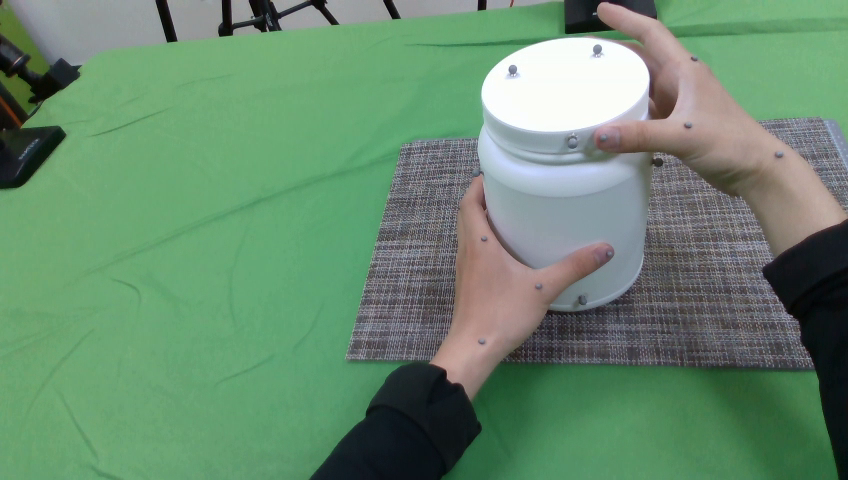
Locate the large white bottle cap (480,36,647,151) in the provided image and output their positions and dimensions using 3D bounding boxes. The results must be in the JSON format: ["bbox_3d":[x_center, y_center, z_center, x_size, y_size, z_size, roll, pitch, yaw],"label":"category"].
[{"bbox_3d":[0.097,-0.106,0.426,0.115,0.018,0.113,-7,47,8],"label":"large white bottle cap"}]

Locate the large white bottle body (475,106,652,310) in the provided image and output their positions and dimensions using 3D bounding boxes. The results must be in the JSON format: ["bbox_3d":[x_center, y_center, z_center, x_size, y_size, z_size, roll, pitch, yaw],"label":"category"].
[{"bbox_3d":[0.112,-0.046,0.489,0.130,0.186,0.129,-7,46,8],"label":"large white bottle body"}]
